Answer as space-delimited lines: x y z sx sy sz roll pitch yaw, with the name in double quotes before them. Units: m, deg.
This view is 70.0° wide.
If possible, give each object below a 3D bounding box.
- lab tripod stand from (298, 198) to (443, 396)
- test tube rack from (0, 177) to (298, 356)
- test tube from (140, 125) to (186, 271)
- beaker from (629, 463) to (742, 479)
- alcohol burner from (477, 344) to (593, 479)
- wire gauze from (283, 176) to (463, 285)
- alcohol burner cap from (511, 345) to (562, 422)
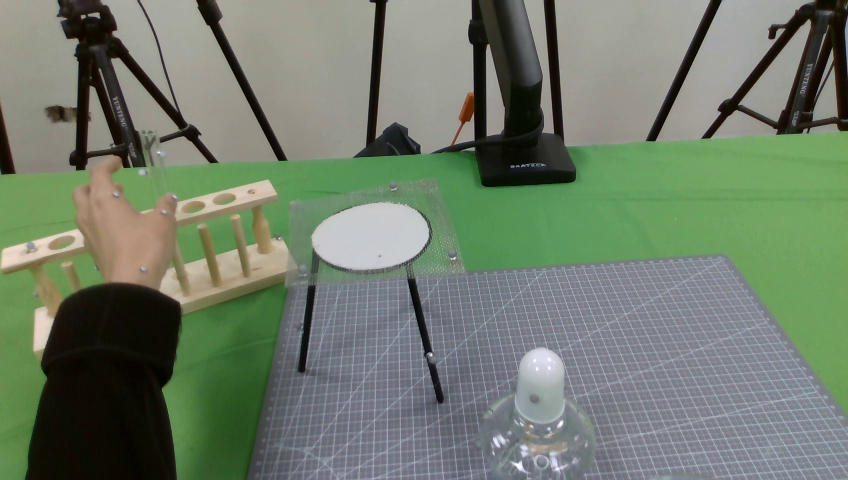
"lab tripod stand" -0.039 0.045 0.490 0.148 0.132 0.147 -2 38 2
"test tube rack" -0.254 0.020 0.585 0.243 0.086 0.066 -18 39 -20
"test tube" -0.247 -0.035 0.576 0.017 0.151 0.017 1 30 0
"beaker" 0.110 0.160 0.259 0.084 0.101 0.073 -16 33 -13
"alcohol burner" 0.074 0.116 0.401 0.078 0.120 0.077 -1 34 1
"wire gauze" -0.042 -0.009 0.450 0.125 0.011 0.120 -7 36 -5
"alcohol burner cap" 0.071 0.087 0.380 0.034 0.048 0.033 -3 38 3
